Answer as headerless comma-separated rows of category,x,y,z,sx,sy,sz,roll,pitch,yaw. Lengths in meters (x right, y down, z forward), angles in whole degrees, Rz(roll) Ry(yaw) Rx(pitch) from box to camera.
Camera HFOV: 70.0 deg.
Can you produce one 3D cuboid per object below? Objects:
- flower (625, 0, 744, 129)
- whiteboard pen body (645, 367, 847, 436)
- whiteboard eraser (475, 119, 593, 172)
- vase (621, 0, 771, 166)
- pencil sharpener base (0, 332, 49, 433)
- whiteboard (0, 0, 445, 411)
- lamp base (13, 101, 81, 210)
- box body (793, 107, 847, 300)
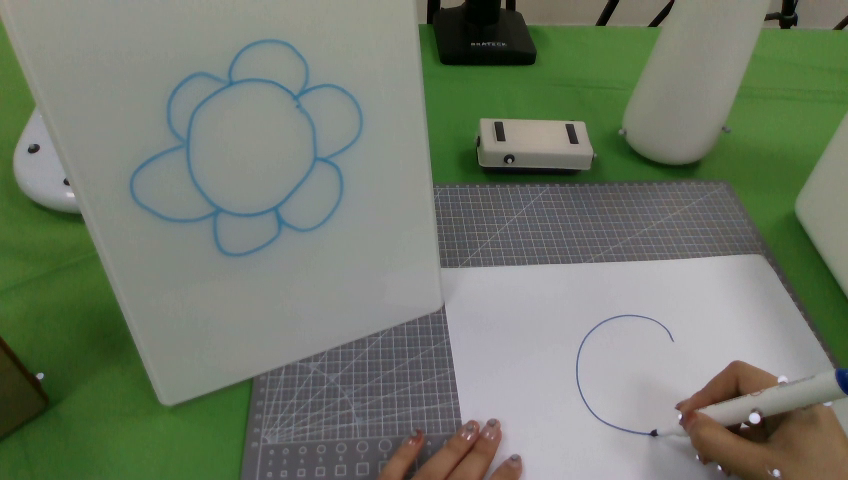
flower,0.280,-0.215,0.518,0.044,0.363,0.038,-22,70,-31
whiteboard pen body,0.192,0.105,0.375,0.017,0.141,0.017,17,55,-26
whiteboard eraser,0.109,-0.094,0.611,0.113,0.042,0.055,0,45,-4
vase,0.264,-0.169,0.587,0.098,0.201,0.097,3,47,-3
pencil sharpener base,-0.298,0.071,0.376,0.076,0.108,0.061,35,54,25
whiteboard,-0.121,-0.073,0.430,0.218,0.308,0.142,-17,32,-18
lamp base,-0.305,-0.144,0.525,0.178,0.182,0.160,29,51,24
box body,0.485,0.037,0.441,0.254,0.162,0.360,0,47,-5
